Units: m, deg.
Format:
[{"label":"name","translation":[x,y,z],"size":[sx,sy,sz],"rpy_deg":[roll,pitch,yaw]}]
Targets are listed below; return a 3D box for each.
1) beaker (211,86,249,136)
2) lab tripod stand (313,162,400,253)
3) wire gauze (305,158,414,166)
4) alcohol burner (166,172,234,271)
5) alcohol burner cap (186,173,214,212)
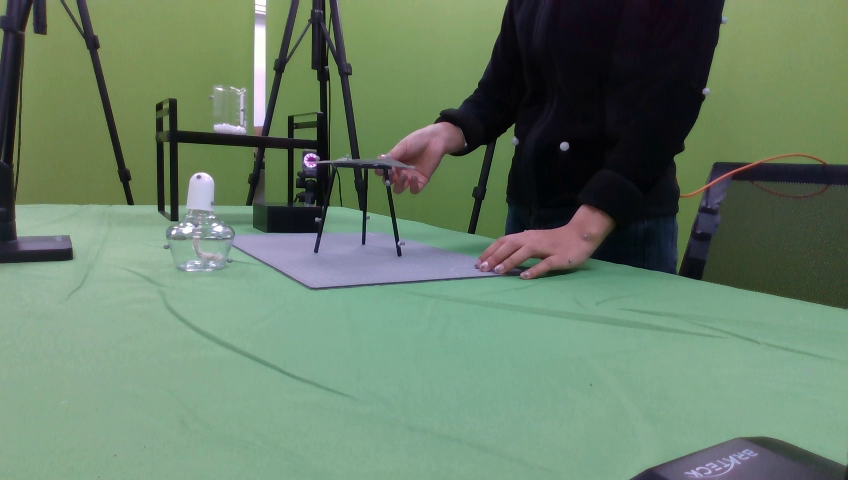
[{"label":"beaker","translation":[-0.413,-0.274,1.297],"size":[0.074,0.100,0.083],"rpy_deg":[-5,11,-44]},{"label":"lab tripod stand","translation":[-0.097,-0.051,0.906],"size":[0.148,0.131,0.148],"rpy_deg":[0,6,0]},{"label":"wire gauze","translation":[-0.092,-0.117,0.894],"size":[0.121,0.011,0.125],"rpy_deg":[4,7,19]},{"label":"alcohol burner","translation":[-0.271,-0.022,0.735],"size":[0.078,0.119,0.078],"rpy_deg":[2,5,0]},{"label":"alcohol burner cap","translation":[-0.268,-0.057,0.730],"size":[0.034,0.048,0.034],"rpy_deg":[5,2,0]}]
